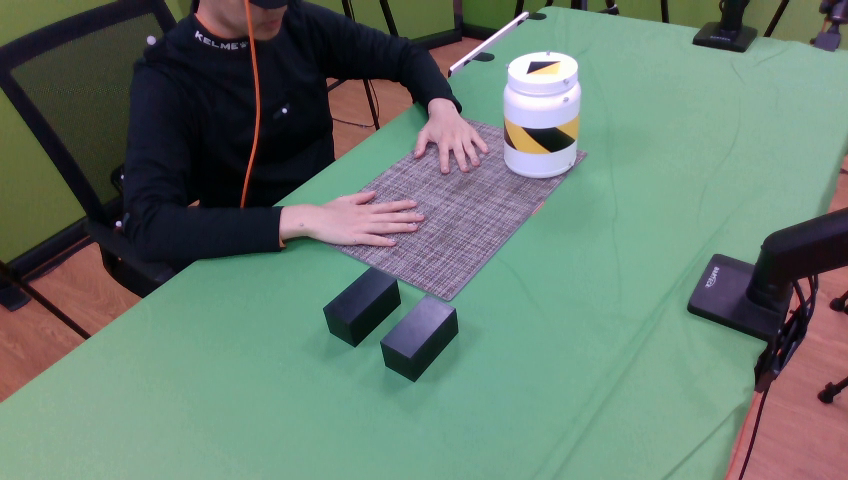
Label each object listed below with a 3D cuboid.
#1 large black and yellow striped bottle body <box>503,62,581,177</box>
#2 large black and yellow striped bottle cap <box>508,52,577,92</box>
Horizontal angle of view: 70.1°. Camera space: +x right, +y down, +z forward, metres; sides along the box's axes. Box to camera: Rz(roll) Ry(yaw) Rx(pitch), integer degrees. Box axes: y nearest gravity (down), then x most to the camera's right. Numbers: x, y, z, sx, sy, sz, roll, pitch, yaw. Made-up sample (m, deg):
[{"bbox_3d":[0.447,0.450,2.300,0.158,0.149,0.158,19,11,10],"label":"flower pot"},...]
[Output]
[{"bbox_3d":[0.206,-0.218,1.061,0.131,0.185,0.130,-4,41,4],"label":"large black and yellow striped bottle body"},{"bbox_3d":[0.197,-0.281,1.008,0.115,0.019,0.114,-4,42,4],"label":"large black and yellow striped bottle cap"}]
